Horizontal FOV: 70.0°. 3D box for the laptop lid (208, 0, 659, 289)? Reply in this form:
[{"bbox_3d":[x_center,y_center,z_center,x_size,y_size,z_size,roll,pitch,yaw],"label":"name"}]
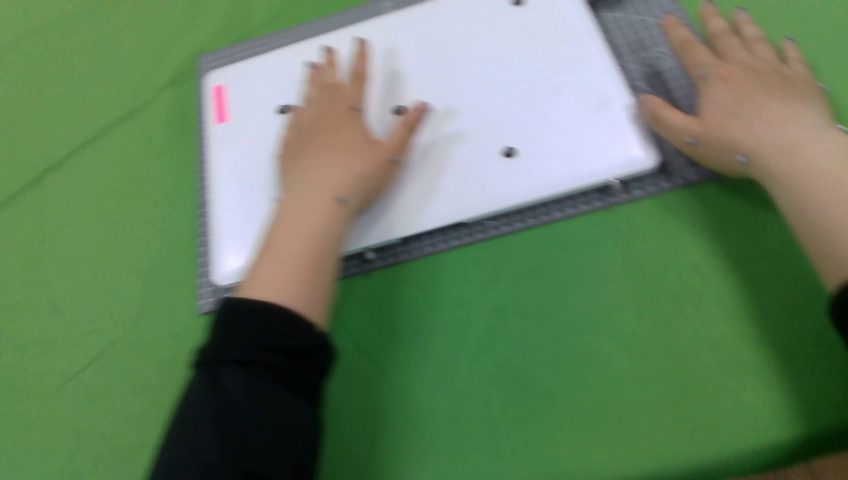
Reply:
[{"bbox_3d":[-0.017,-0.105,0.505,0.356,0.013,0.239,-14,61,6],"label":"laptop lid"}]

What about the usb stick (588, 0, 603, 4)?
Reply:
[{"bbox_3d":[0.153,-0.225,0.528,0.059,0.027,0.021,-16,57,8],"label":"usb stick"}]

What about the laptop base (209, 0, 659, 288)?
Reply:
[{"bbox_3d":[-0.015,-0.102,0.516,0.354,0.023,0.233,-15,62,5],"label":"laptop base"}]
